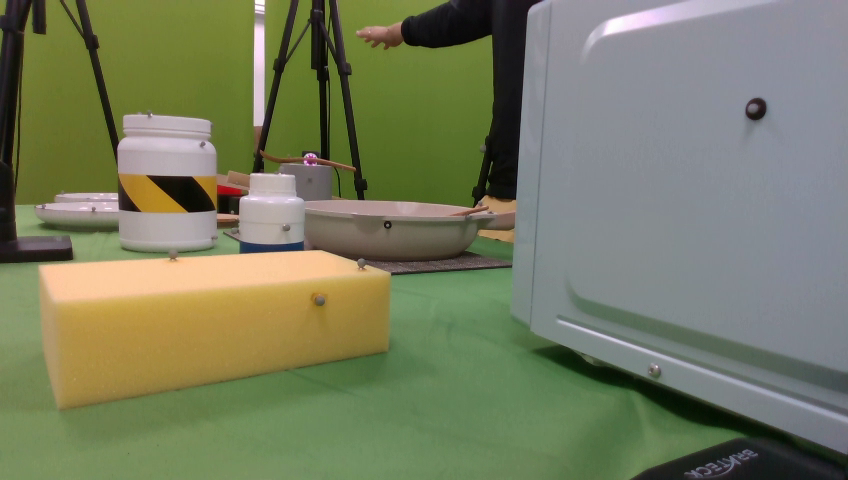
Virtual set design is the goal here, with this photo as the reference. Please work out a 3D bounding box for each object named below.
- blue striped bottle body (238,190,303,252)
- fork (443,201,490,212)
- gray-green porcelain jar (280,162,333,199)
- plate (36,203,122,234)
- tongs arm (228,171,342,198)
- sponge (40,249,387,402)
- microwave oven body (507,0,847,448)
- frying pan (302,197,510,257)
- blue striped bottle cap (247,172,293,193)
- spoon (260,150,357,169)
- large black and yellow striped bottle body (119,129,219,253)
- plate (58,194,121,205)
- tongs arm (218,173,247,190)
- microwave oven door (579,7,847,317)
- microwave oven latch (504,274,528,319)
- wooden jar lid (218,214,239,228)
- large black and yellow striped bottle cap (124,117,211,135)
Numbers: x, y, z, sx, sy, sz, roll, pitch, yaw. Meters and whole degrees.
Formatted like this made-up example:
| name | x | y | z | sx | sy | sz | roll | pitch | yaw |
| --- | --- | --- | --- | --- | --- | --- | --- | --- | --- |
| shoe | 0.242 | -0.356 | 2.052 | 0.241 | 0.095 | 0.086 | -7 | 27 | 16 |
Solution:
| name | x | y | z | sx | sy | sz | roll | pitch | yaw |
| --- | --- | --- | --- | --- | --- | --- | --- | --- | --- |
| blue striped bottle body | -0.153 | -0.007 | 0.606 | 0.063 | 0.120 | 0.063 | 2 | 8 | 0 |
| fork | -0.006 | -0.020 | 0.852 | 0.207 | 0.018 | 0.028 | -22 | -3 | 10 |
| gray-green porcelain jar | -0.238 | -0.092 | 1.221 | 0.106 | 0.126 | 0.106 | 2 | 7 | 0 |
| plate | -0.571 | -0.040 | 1.083 | 0.208 | 0.039 | 0.207 | 2 | 8 | 0 |
| tongs arm | -0.267 | -0.103 | 1.378 | 0.387 | 0.026 | 0.050 | 11 | -3 | -40 |
| sponge | -0.142 | 0.047 | 0.420 | 0.208 | 0.061 | 0.117 | -3 | 8 | -36 |
| microwave oven body | 0.331 | -0.042 | 0.425 | 0.444 | 0.260 | 0.324 | -2 | 8 | -31 |
| frying pan | 0.051 | -0.035 | 0.915 | 0.487 | 0.102 | 0.307 | -5 | 7 | 10 |
| blue striped bottle cap | -0.152 | -0.057 | 0.598 | 0.044 | 0.020 | 0.044 | 3 | 7 | 0 |
| spoon | -0.231 | -0.162 | 1.221 | 0.194 | 0.021 | 0.041 | 3 | 3 | -16 |
| large black and yellow striped bottle body | -0.367 | -0.080 | 0.876 | 0.131 | 0.184 | 0.130 | 2 | 7 | 0 |
| plate | -0.671 | -0.074 | 1.310 | 0.209 | 0.038 | 0.209 | 2 | 8 | 0 |
| tongs arm | -0.315 | -0.110 | 1.448 | 0.389 | 0.027 | 0.028 | 11 | -7 | -26 |
| microwave oven door | 0.294 | -0.066 | 0.570 | 0.358 | 0.243 | 0.039 | -3 | 9 | -31 |
| microwave oven latch | 0.100 | 0.041 | 0.471 | 0.079 | 0.029 | 0.030 | -1 | 8 | -28 |
| wooden jar lid | -0.404 | -0.037 | 1.169 | 0.108 | 0.020 | 0.108 | 3 | 7 | 0 |
| large black and yellow striped bottle cap | -0.366 | -0.163 | 0.866 | 0.115 | 0.019 | 0.115 | 3 | 7 | 0 |
